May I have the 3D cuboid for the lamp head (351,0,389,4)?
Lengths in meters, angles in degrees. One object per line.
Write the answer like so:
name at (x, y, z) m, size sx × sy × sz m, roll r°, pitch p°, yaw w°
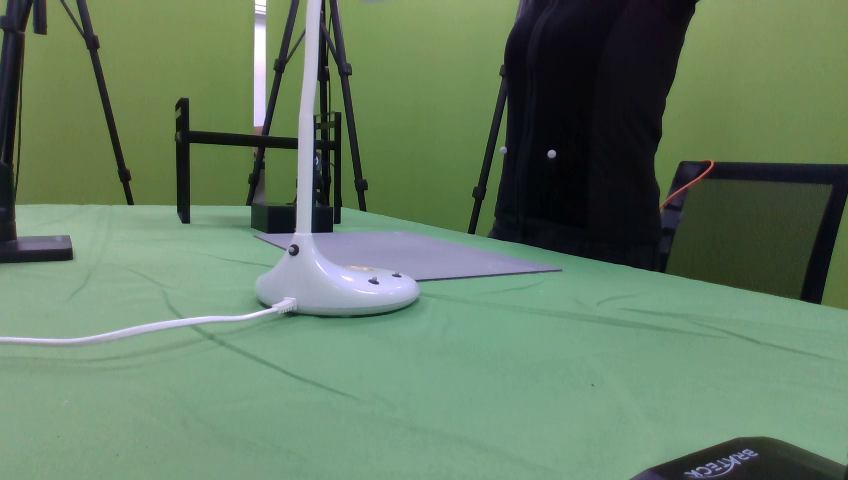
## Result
lamp head at (-0.053, -0.313, 0.597) m, size 0.112 × 0.112 × 0.123 m, roll 6°, pitch -28°, yaw 25°

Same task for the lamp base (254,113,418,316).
lamp base at (-0.086, -0.027, 0.577) m, size 0.160 × 0.180 × 0.179 m, roll 4°, pitch 10°, yaw 16°
